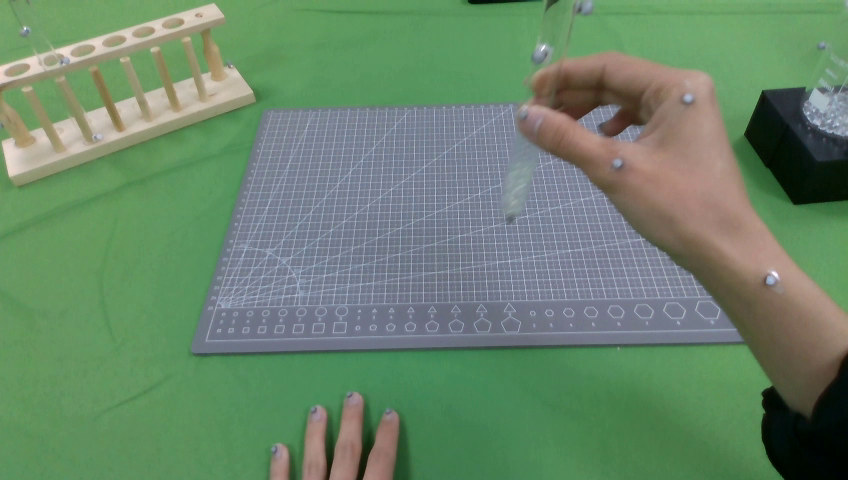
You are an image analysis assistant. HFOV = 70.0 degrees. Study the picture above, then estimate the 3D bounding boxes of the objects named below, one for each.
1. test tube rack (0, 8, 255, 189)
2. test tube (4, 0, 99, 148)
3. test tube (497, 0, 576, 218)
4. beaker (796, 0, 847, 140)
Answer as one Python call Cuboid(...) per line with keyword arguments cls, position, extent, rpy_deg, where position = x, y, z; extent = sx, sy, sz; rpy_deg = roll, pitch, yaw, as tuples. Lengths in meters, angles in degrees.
Cuboid(cls="test tube rack", position=(-0.304, -0.145, 0.603), extent=(0.242, 0.086, 0.066), rpy_deg=(-25, 51, -19))
Cuboid(cls="test tube", position=(-0.332, -0.146, 0.546), extent=(0.017, 0.152, 0.017), rpy_deg=(-2, 46, 2))
Cuboid(cls="test tube", position=(0.055, -0.065, 0.308), extent=(0.017, 0.151, 0.017), rpy_deg=(2, 49, -2))
Cuboid(cls="beaker", position=(0.353, -0.140, 0.489), extent=(0.074, 0.101, 0.083), rpy_deg=(-22, 50, -16))
